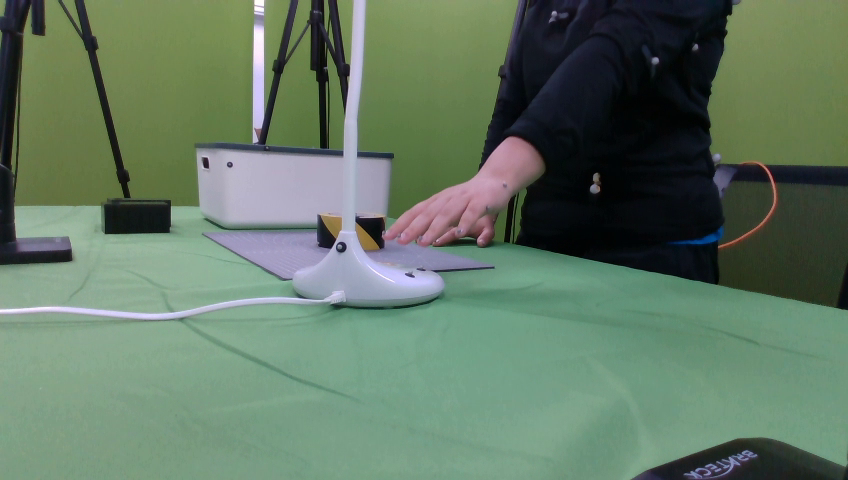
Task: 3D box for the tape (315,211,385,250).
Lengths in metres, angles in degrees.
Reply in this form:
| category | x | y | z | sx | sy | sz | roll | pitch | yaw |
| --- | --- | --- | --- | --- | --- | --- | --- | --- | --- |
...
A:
| category | x | y | z | sx | sy | sz | roll | pitch | yaw |
| --- | --- | --- | --- | --- | --- | --- | --- | --- | --- |
| tape | -0.119 | -0.017 | 0.973 | 0.117 | 0.052 | 0.117 | 2 | 7 | 0 |

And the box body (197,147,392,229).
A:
| category | x | y | z | sx | sy | sz | roll | pitch | yaw |
| --- | --- | --- | --- | --- | --- | --- | --- | --- | --- |
| box body | -0.278 | -0.117 | 1.292 | 0.366 | 0.160 | 0.253 | -2 | 8 | -30 |

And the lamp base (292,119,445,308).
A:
| category | x | y | z | sx | sy | sz | roll | pitch | yaw |
| --- | --- | --- | --- | --- | --- | --- | --- | --- | --- |
| lamp base | -0.056 | -0.030 | 0.616 | 0.160 | 0.180 | 0.179 | 4 | 10 | 8 |

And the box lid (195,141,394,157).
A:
| category | x | y | z | sx | sy | sz | roll | pitch | yaw |
| --- | --- | --- | --- | --- | --- | --- | --- | --- | --- |
| box lid | -0.277 | -0.190 | 1.282 | 0.373 | 0.015 | 0.262 | -1 | 8 | -30 |
